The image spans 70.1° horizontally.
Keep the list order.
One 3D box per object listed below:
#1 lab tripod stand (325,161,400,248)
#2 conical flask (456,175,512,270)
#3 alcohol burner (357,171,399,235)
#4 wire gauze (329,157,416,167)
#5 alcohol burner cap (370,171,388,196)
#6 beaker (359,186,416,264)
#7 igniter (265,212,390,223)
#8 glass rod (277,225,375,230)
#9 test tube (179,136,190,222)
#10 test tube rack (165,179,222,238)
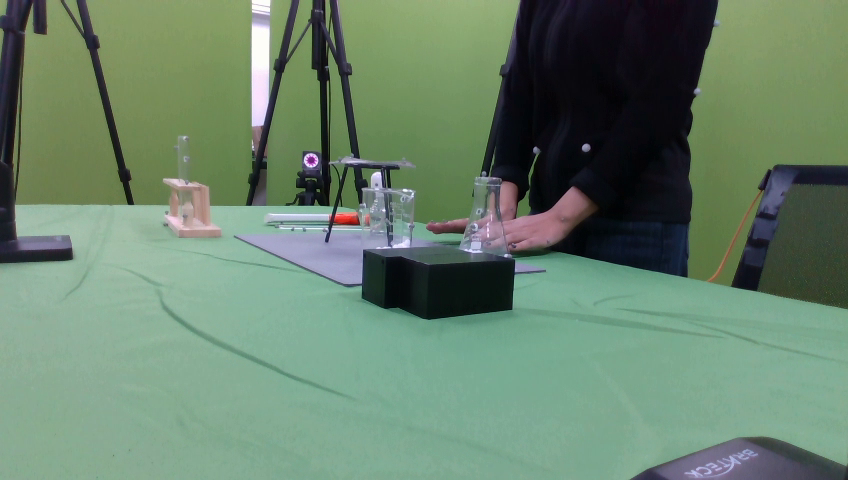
[{"bbox_3d":[-0.083,-0.060,0.977,0.148,0.131,0.148,4,8,0],"label":"lab tripod stand"},{"bbox_3d":[0.082,-0.025,0.801,0.075,0.122,0.075,2,7,0],"label":"conical flask"},{"bbox_3d":[-0.085,-0.069,1.125,0.078,0.119,0.078,3,10,0],"label":"alcohol burner"},{"bbox_3d":[-0.079,-0.126,0.972,0.121,0.011,0.125,4,8,5],"label":"wire gauze"},{"bbox_3d":[-0.085,-0.104,1.120,0.034,0.048,0.034,-4,7,1],"label":"alcohol burner cap"},{"bbox_3d":[-0.048,-0.020,0.817,0.083,0.100,0.074,9,10,41],"label":"beaker"},{"bbox_3d":[-0.196,-0.048,1.285,0.278,0.025,0.057,-2,-2,-30],"label":"igniter"},{"bbox_3d":[-0.187,-0.024,1.178,0.201,0.008,0.008,1,6,-31],"label":"glass rod"},{"bbox_3d":[-0.416,-0.105,1.052,0.017,0.150,0.017,0,4,0],"label":"test tube"},{"bbox_3d":[-0.423,-0.062,1.098,0.067,0.085,0.241,-2,9,-28],"label":"test tube rack"}]
